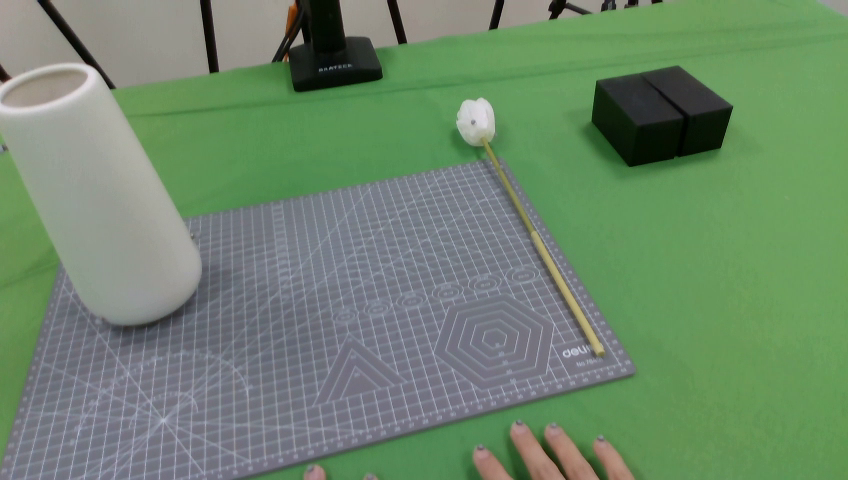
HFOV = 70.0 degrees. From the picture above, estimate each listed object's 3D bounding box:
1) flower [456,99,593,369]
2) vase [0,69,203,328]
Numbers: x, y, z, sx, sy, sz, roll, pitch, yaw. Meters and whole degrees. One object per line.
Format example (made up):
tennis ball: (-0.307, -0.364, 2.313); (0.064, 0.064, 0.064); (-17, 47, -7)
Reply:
flower: (0.090, -0.027, 0.584); (0.044, 0.038, 0.357); (-33, 44, 17)
vase: (-0.243, -0.025, 0.468); (0.098, 0.202, 0.097); (-2, 40, 2)
